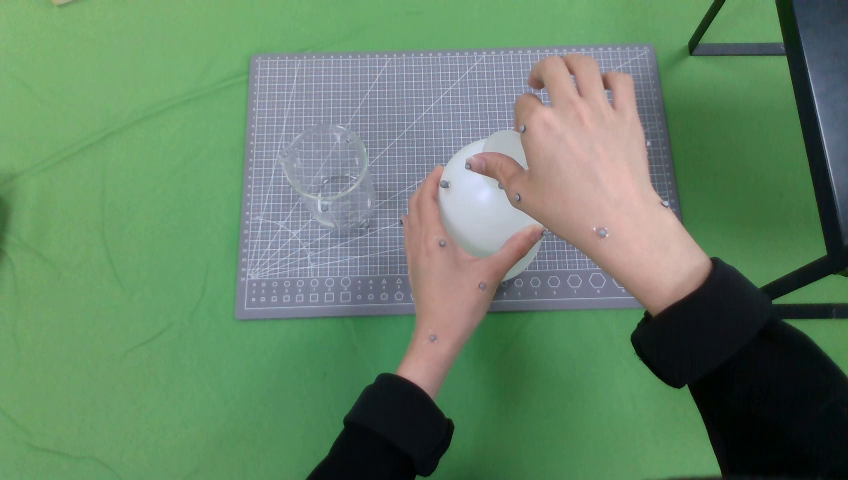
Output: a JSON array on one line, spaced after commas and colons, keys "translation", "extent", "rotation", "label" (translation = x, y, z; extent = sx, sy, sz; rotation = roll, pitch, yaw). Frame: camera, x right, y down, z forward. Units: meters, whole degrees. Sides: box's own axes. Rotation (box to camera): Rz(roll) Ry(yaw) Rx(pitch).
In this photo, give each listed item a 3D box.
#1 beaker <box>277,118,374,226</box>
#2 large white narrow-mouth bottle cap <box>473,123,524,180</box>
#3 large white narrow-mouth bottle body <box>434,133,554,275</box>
[{"translation": [-0.090, -0.060, 0.580], "extent": [0.084, 0.101, 0.073], "rotation": [8, 73, 4], "label": "beaker"}, {"translation": [0.054, -0.062, 0.433], "extent": [0.038, 0.024, 0.037], "rotation": [0, 74, 2], "label": "large white narrow-mouth bottle cap"}, {"translation": [0.059, -0.036, 0.524], "extent": [0.102, 0.195, 0.101], "rotation": [-1, 74, 2], "label": "large white narrow-mouth bottle body"}]
